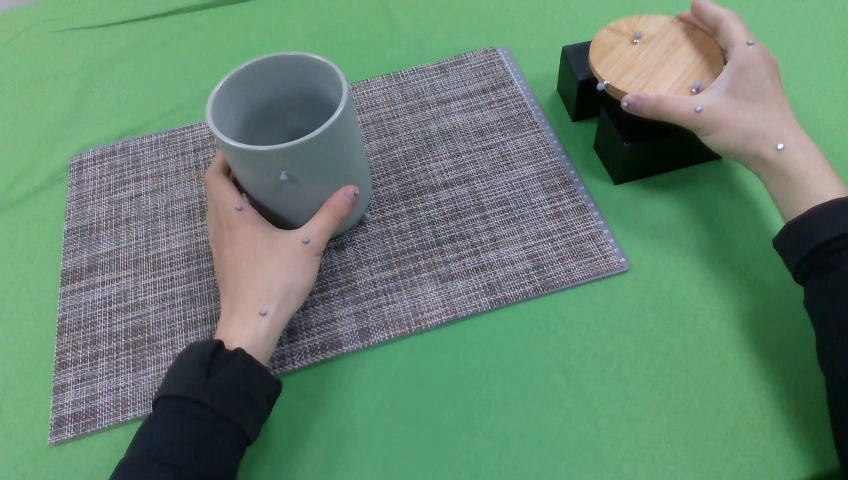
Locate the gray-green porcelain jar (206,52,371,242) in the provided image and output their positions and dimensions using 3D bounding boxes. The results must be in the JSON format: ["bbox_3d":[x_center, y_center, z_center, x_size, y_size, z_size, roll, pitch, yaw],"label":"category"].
[{"bbox_3d":[-0.102,-0.068,0.492,0.106,0.128,0.105,-3,54,5],"label":"gray-green porcelain jar"}]

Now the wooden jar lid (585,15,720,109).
[{"bbox_3d":[0.190,-0.150,0.510,0.108,0.021,0.107,-2,57,4],"label":"wooden jar lid"}]
